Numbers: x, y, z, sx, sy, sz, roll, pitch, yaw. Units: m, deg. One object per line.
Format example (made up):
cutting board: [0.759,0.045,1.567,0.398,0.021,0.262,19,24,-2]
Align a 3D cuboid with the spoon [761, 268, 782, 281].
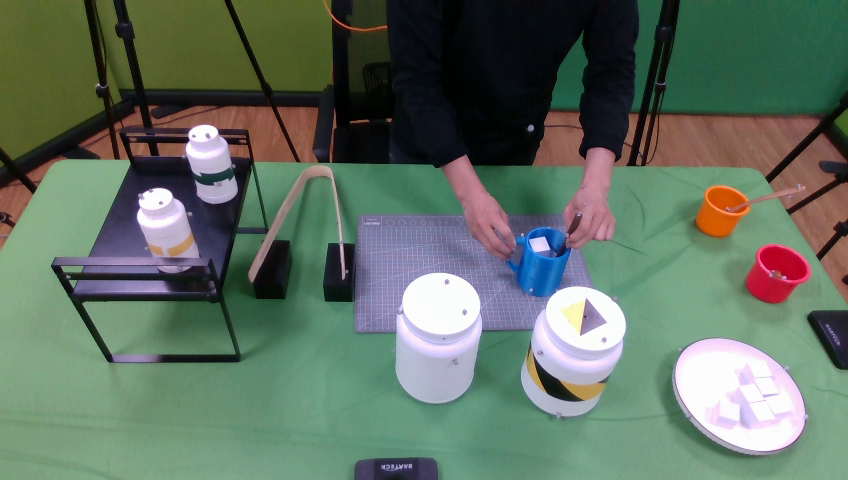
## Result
spoon: [0.638,0.060,1.105,0.041,0.021,0.194,38,11,24]

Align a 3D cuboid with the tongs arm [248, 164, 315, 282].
tongs arm: [-0.269,-0.048,1.165,0.028,0.028,0.385,0,34,7]

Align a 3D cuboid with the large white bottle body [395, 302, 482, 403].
large white bottle body: [0.020,0.153,0.939,0.131,0.185,0.130,2,46,-2]

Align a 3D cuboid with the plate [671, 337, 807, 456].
plate: [0.504,0.254,0.984,0.208,0.039,0.206,2,46,-2]

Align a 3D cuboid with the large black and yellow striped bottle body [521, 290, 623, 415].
large black and yellow striped bottle body: [0.228,0.173,0.938,0.131,0.185,0.130,2,47,-2]

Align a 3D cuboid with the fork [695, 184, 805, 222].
fork: [0.657,-0.075,1.230,0.207,0.019,0.028,-23,32,37]

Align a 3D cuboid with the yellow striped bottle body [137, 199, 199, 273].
yellow striped bottle body: [-0.366,-0.014,0.863,0.063,0.121,0.062,2,46,-2]

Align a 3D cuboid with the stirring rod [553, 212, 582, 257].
stirring rod: [0.246,0.010,1.079,0.014,0.177,0.006,-17,57,-21]

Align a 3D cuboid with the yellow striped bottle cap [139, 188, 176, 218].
yellow striped bottle cap: [-0.363,-0.050,0.826,0.044,0.019,0.044,1,47,0]

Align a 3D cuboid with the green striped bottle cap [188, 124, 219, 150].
green striped bottle cap: [-0.339,-0.158,0.931,0.044,0.020,0.044,4,46,-3]

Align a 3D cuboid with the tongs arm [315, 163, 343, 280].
tongs arm: [-0.187,-0.049,1.170,0.051,0.026,0.382,-5,35,-6]

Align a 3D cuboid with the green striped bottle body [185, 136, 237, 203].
green striped bottle body: [-0.341,-0.121,0.968,0.063,0.120,0.063,2,46,-2]

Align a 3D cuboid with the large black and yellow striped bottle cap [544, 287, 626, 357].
large black and yellow striped bottle cap: [0.232,0.116,0.876,0.115,0.019,0.114,2,46,-1]

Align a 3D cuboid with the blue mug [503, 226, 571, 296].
blue mug: [0.203,0.034,1.118,0.116,0.106,0.082,17,48,13]

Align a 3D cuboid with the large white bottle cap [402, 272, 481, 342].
large white bottle cap: [0.024,0.095,0.878,0.115,0.018,0.114,2,47,-2]
